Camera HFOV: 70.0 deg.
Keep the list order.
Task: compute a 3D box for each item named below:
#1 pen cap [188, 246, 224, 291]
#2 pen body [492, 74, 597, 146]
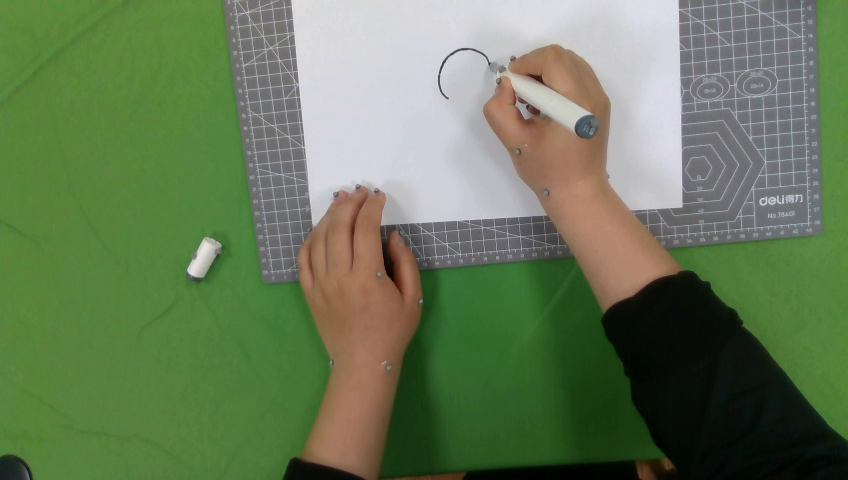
[{"bbox_3d":[-0.185,0.025,0.511,0.017,0.017,0.038,32,98,2],"label":"pen cap"},{"bbox_3d":[0.077,-0.096,0.422,0.017,0.142,0.017,-9,121,-15],"label":"pen body"}]
